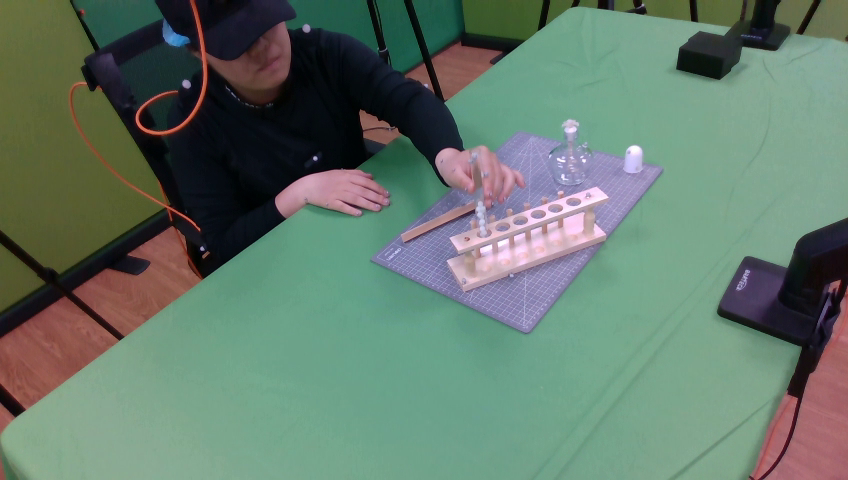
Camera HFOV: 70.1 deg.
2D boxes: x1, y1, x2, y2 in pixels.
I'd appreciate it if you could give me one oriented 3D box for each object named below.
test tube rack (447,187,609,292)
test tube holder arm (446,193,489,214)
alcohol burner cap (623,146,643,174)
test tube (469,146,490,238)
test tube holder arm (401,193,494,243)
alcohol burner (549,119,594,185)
[{"bbox_3d":[0.155,-0.011,0.913,0.243,0.085,0.066,-19,41,-11],"label":"test tube rack"},{"bbox_3d":[0.078,-0.058,1.037,0.088,0.015,0.010,-26,10,-18],"label":"test tube holder arm"},{"bbox_3d":[0.369,-0.142,1.061,0.034,0.048,0.033,-7,40,6],"label":"alcohol burner cap"},{"bbox_3d":[0.077,-0.059,0.828,0.017,0.151,0.017,-6,34,5],"label":"test tube"},{"bbox_3d":[0.041,-0.039,1.018,0.179,0.015,0.013,-26,10,-18],"label":"test tube holder arm"},{"bbox_3d":[0.254,-0.155,1.043,0.078,0.120,0.077,-7,40,6],"label":"alcohol burner"}]
